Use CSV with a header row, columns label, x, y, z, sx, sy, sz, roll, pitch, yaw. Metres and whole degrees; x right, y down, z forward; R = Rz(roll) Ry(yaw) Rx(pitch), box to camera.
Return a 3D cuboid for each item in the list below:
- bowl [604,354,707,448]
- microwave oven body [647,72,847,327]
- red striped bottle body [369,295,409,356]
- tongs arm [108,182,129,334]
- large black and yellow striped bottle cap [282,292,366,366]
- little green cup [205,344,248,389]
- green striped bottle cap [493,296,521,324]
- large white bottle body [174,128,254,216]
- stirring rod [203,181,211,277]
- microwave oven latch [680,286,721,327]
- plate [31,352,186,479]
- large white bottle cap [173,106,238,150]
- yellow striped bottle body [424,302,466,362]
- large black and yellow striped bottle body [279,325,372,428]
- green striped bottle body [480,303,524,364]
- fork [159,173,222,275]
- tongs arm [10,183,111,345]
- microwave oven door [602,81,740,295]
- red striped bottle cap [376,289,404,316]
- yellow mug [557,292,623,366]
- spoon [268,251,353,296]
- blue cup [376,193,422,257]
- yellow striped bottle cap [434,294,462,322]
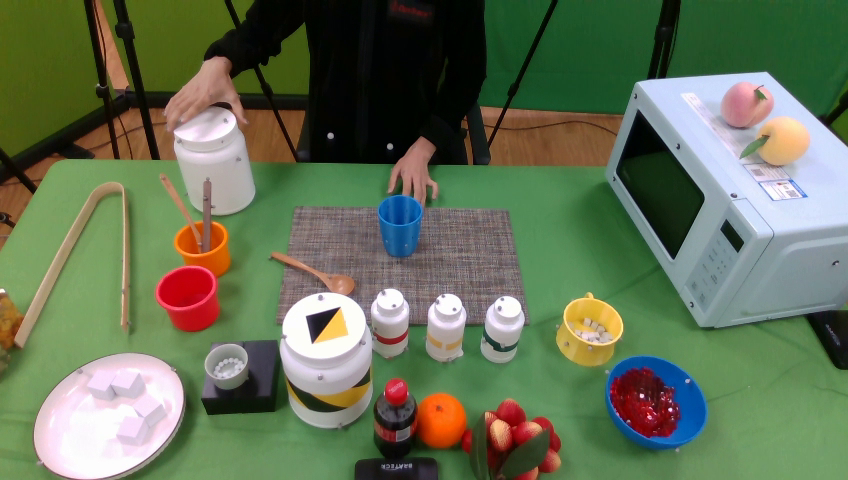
label,x,y,z,sx,sy,sz,roll,pitch,yaw
bowl,0.346,0.261,0.937,0.151,0.077,0.150,2,46,-2
microwave oven body,0.607,-0.089,1.164,0.326,0.261,0.438,-7,46,-10
red striped bottle body,-0.059,0.134,0.997,0.063,0.120,0.062,5,48,-5
tongs arm,-0.571,0.019,1.123,0.051,0.026,0.382,-11,47,-11
large black and yellow striped bottle cap,-0.138,0.121,0.841,0.115,0.019,0.114,3,47,-3
little green cup,-0.294,0.191,0.909,0.061,0.039,0.061,1,47,-1
green striped bottle cap,0.133,0.111,0.962,0.044,0.020,0.044,2,47,-2
large white bottle body,-0.416,-0.154,1.199,0.131,0.185,0.130,2,46,-2
stirring rod,-0.396,-0.021,1.107,0.014,0.006,0.176,-1,89,-1
microwave oven latch,0.494,0.120,1.088,0.030,0.029,0.078,-7,46,-10
plate,-0.459,0.262,0.898,0.209,0.038,0.208,2,46,-2
large white bottle cap,-0.410,-0.212,1.138,0.115,0.018,0.114,2,47,-2
yellow striped bottle body,0.035,0.143,0.995,0.063,0.121,0.062,3,46,-3
large black and yellow striped bottle body,-0.143,0.181,0.900,0.131,0.185,0.130,2,46,-2
green striped bottle body,0.129,0.147,1.000,0.063,0.120,0.063,2,46,-2
fork,-0.427,-0.029,1.103,0.028,0.018,0.207,-31,99,-30
tongs arm,-0.658,0.027,1.109,0.028,0.028,0.385,-2,45,2
microwave oven door,0.456,-0.107,1.162,0.039,0.245,0.353,-7,47,-11
red striped bottle cap,-0.054,0.098,0.958,0.044,0.018,0.044,0,48,1
yellow mug,0.285,0.145,1.051,0.100,0.064,0.130,7,45,4
spoon,-0.212,0.057,1.121,0.193,0.022,0.041,24,74,18
blue cup,-0.048,-0.022,1.155,0.093,0.101,0.092,1,47,-1
yellow striped bottle cap,0.038,0.107,0.958,0.044,0.019,0.044,2,45,-2
